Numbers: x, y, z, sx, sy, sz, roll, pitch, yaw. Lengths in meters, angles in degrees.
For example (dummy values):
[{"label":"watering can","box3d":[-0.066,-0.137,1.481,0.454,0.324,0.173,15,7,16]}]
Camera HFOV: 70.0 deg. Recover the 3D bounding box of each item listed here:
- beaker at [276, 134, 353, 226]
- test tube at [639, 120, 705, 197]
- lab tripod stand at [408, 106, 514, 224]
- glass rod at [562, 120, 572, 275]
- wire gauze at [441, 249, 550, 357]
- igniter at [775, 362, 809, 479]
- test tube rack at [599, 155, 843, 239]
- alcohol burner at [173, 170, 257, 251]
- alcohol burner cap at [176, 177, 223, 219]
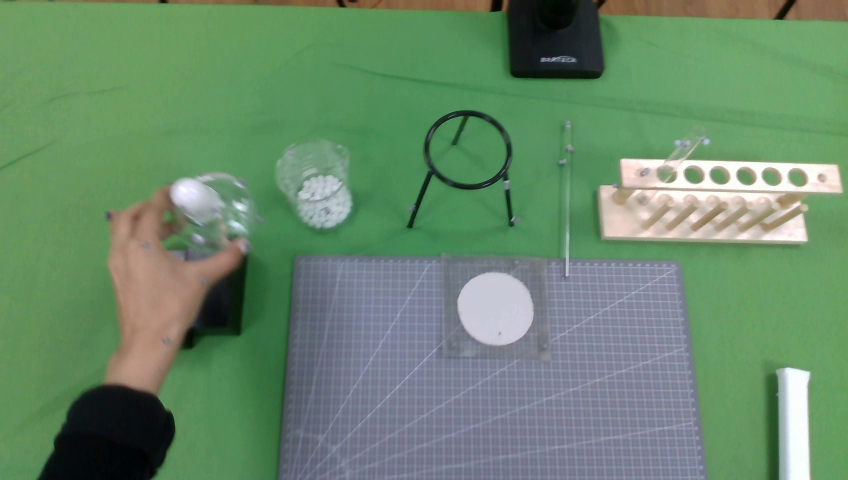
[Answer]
[{"label":"beaker","box3d":[-0.115,-0.064,0.675,0.084,0.101,0.073,-37,78,-13]},{"label":"test tube","box3d":[0.263,-0.083,0.651,0.017,0.151,0.017,0,69,0]},{"label":"lab tripod stand","box3d":[0.042,-0.080,0.669,0.148,0.132,0.147,0,71,0]},{"label":"glass rod","box3d":[0.172,-0.055,0.730,0.008,0.008,0.198,6,74,-1]},{"label":"wire gauze","box3d":[0.080,0.069,0.687,0.125,0.011,0.120,2,72,0]},{"label":"igniter","box3d":[0.383,0.267,0.630,0.057,0.025,0.275,13,73,-9]},{"label":"test tube rack","box3d":[0.334,-0.047,0.695,0.242,0.085,0.066,1,72,-2]},{"label":"alcohol burner","box3d":[-0.197,-0.032,0.557,0.078,0.119,0.077,0,79,-2]},{"label":"alcohol burner cap","box3d":[-0.195,-0.037,0.521,0.034,0.048,0.034,1,84,-6]}]
